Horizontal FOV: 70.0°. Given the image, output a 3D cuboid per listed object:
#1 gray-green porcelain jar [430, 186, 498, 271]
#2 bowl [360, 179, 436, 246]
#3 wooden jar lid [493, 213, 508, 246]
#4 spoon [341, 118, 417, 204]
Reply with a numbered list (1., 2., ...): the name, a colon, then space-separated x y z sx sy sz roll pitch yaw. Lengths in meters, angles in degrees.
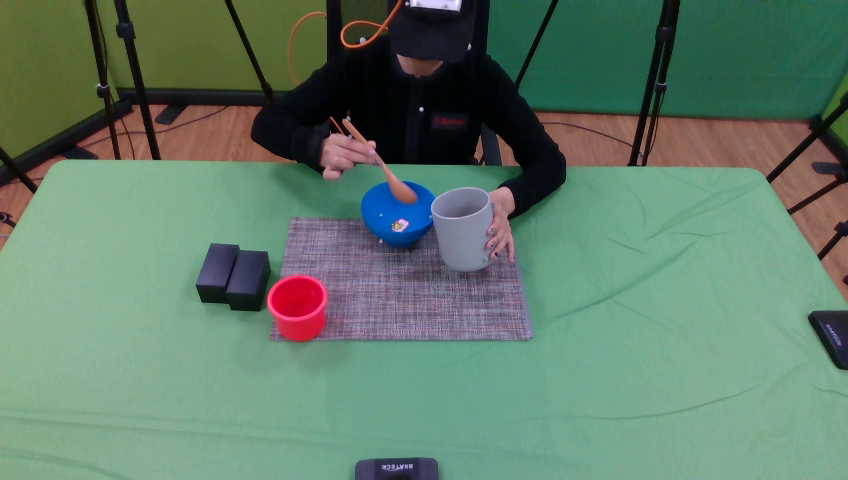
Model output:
1. gray-green porcelain jar: 0.075 -0.016 1.080 0.106 0.127 0.105 -9 34 7
2. bowl: -0.049 -0.042 1.190 0.151 0.077 0.150 2 46 -2
3. wooden jar lid: 0.115 -0.018 1.220 0.108 0.021 0.107 3 47 -3
4. spoon: -0.079 -0.136 1.058 0.194 0.041 0.021 52 47 -15
